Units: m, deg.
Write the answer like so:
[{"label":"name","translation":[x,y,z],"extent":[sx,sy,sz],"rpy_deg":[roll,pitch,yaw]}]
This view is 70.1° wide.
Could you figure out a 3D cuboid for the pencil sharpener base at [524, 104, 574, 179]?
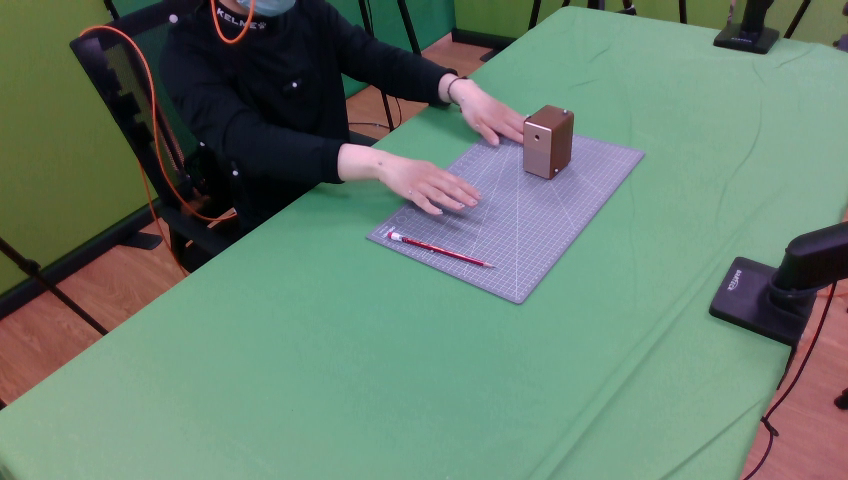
[{"label":"pencil sharpener base","translation":[0.222,-0.176,1.071],"extent":[0.061,0.107,0.077],"rpy_deg":[26,50,33]}]

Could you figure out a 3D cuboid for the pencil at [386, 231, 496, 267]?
[{"label":"pencil","translation":[0.024,0.015,0.951],"extent":[0.193,0.012,0.012],"rpy_deg":[17,46,24]}]

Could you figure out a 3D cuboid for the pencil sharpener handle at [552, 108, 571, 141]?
[{"label":"pencil sharpener handle","translation":[0.254,-0.212,1.091],"extent":[0.035,0.068,0.031],"rpy_deg":[27,51,33]}]
